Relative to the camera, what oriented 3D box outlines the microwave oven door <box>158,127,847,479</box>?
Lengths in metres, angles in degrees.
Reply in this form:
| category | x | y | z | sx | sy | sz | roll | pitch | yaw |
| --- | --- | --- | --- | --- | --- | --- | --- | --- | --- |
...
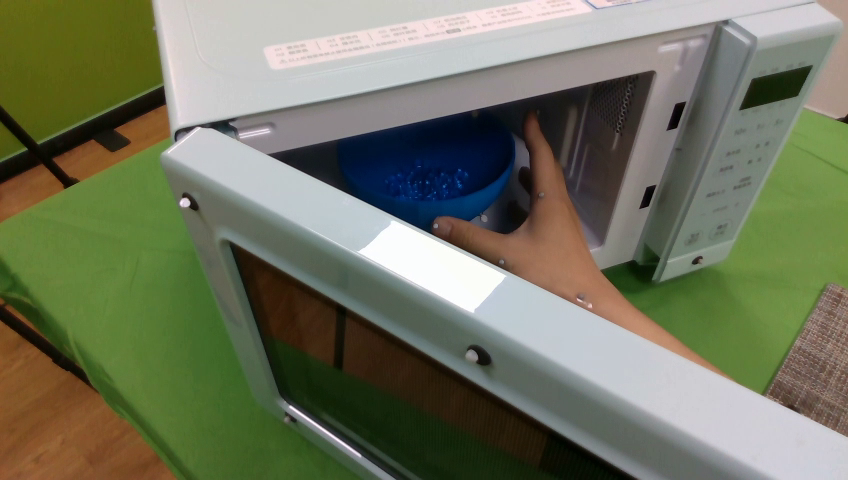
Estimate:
| category | x | y | z | sx | sy | sz | roll | pitch | yaw |
| --- | --- | --- | --- | --- | --- | --- | --- | --- | --- |
| microwave oven door | 0.020 | 0.099 | 0.323 | 0.353 | 0.246 | 0.039 | 26 | 51 | 23 |

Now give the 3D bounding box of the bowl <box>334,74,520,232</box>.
| category | x | y | z | sx | sy | sz | roll | pitch | yaw |
| --- | --- | --- | --- | --- | --- | --- | --- | --- | --- |
| bowl | 0.003 | -0.061 | 0.520 | 0.151 | 0.077 | 0.150 | 0 | 58 | 0 |

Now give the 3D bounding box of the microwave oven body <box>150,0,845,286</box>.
| category | x | y | z | sx | sy | sz | roll | pitch | yaw |
| --- | --- | --- | --- | --- | --- | --- | --- | --- | --- |
| microwave oven body | 0.027 | -0.116 | 0.541 | 0.442 | 0.262 | 0.322 | -16 | 48 | -14 |

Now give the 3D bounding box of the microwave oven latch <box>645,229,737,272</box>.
| category | x | y | z | sx | sy | sz | roll | pitch | yaw |
| --- | --- | --- | --- | --- | --- | --- | --- | --- | --- |
| microwave oven latch | 0.247 | 0.003 | 0.561 | 0.079 | 0.030 | 0.030 | -15 | 48 | -13 |
